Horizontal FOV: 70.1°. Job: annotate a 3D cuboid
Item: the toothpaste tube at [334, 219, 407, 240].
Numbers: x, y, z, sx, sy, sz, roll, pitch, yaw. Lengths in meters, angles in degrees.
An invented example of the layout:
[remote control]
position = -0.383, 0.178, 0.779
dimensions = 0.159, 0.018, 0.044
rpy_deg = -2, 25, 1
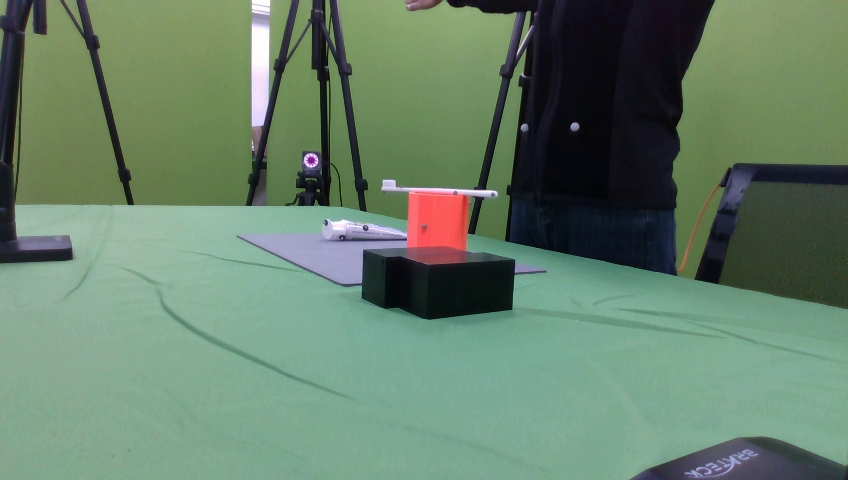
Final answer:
[toothpaste tube]
position = -0.084, -0.015, 1.051
dimensions = 0.166, 0.034, 0.055
rpy_deg = 3, 13, -29

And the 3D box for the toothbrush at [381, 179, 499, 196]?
[toothbrush]
position = 0.019, -0.073, 0.841
dimensions = 0.181, 0.016, 0.014
rpy_deg = 6, 3, 27

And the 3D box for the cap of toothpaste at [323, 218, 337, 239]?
[cap of toothpaste]
position = -0.157, -0.020, 1.013
dimensions = 0.011, 0.037, 0.037
rpy_deg = -8, 12, -40

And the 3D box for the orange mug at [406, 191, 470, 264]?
[orange mug]
position = 0.027, -0.023, 0.866
dimensions = 0.083, 0.101, 0.126
rpy_deg = 6, 12, 24
